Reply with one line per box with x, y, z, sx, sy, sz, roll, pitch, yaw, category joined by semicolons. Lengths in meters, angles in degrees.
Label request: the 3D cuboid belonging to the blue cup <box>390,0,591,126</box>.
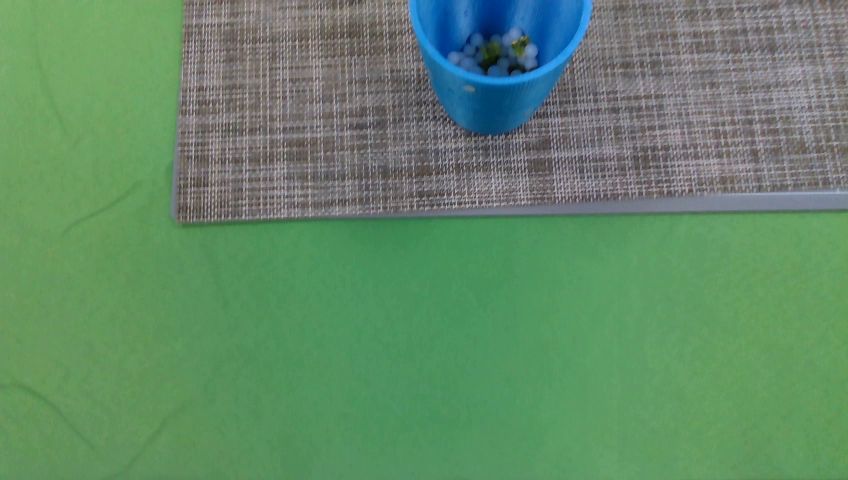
0.037;-0.107;0.327;0.092;0.100;0.092;0;81;3;blue cup
